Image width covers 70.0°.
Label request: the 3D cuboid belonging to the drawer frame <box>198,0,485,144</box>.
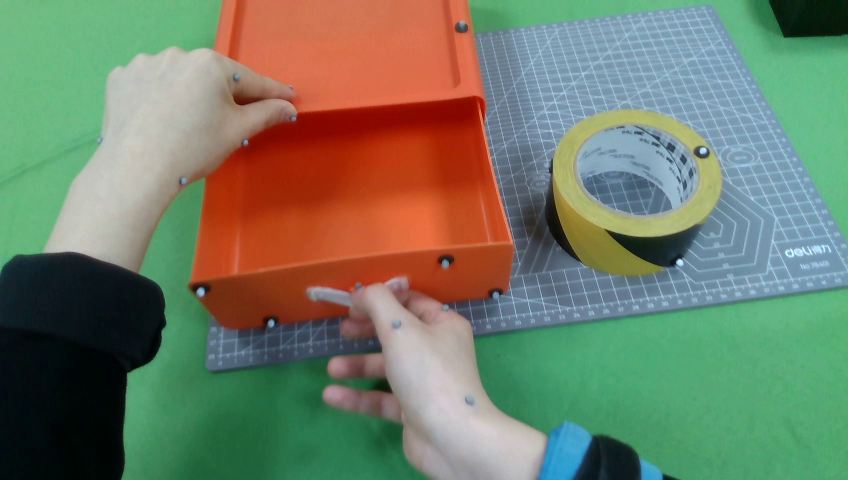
[{"bbox_3d":[-0.063,-0.158,0.497,0.202,0.083,0.211,-6,58,0],"label":"drawer frame"}]

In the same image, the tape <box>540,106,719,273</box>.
[{"bbox_3d":[0.143,-0.036,0.428,0.117,0.053,0.116,-2,59,3],"label":"tape"}]

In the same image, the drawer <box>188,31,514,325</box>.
[{"bbox_3d":[-0.051,-0.054,0.434,0.194,0.074,0.209,-7,58,0],"label":"drawer"}]
